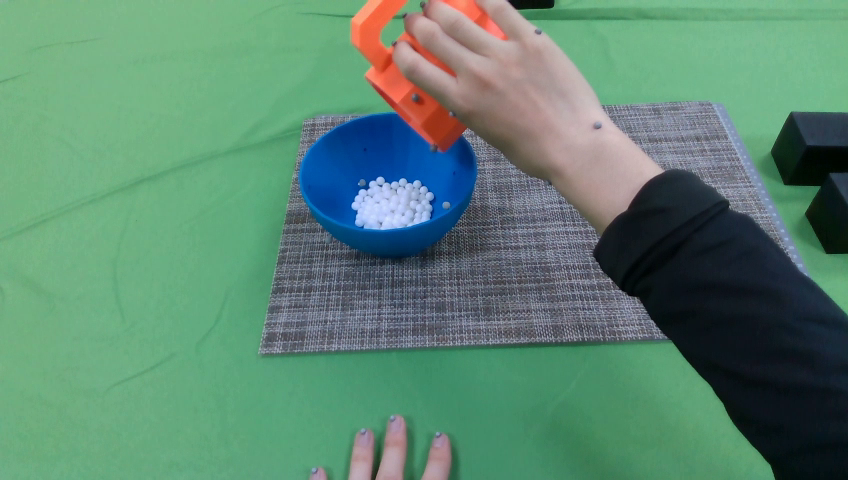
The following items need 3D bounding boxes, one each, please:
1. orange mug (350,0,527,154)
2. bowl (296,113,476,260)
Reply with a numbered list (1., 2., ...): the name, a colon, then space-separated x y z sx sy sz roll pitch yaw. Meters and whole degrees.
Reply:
1. orange mug: 0.005 -0.139 0.459 0.101 0.127 0.082 -49 42 6
2. bowl: -0.030 -0.036 0.533 0.151 0.077 0.150 -1 49 2
